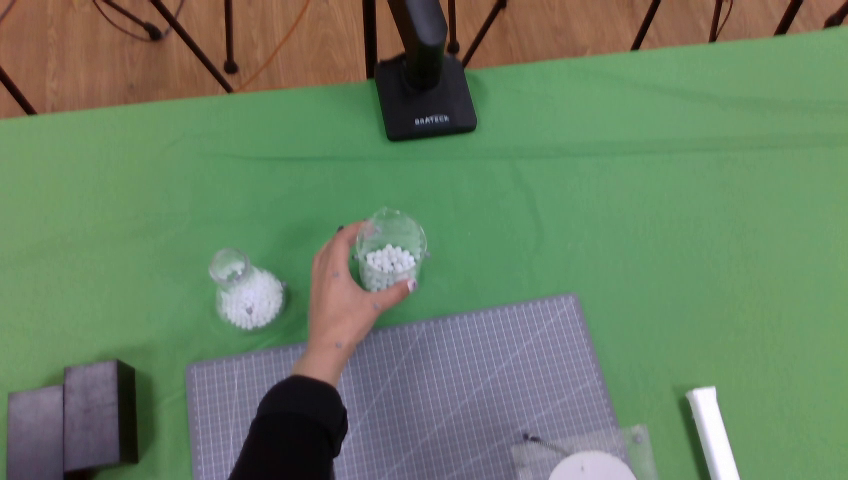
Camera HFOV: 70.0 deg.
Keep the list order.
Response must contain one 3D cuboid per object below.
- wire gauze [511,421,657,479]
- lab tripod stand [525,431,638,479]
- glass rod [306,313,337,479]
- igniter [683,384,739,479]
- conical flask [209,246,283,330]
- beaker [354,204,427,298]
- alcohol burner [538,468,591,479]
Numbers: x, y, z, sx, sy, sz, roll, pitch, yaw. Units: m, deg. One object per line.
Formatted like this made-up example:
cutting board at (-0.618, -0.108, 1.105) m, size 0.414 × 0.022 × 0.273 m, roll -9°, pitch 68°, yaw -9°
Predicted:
wire gauze at (0.146, 0.224, 0.514) m, size 0.125 × 0.011 × 0.120 m, roll -7°, pitch 71°, yaw -8°
lab tripod stand at (0.140, 0.251, 0.576) m, size 0.148 × 0.132 × 0.147 m, roll 2°, pitch 70°, yaw -5°
glass rod at (-0.109, 0.173, 0.648) m, size 0.008 × 0.008 × 0.198 m, roll -9°, pitch 69°, yaw -10°
igniter at (0.327, 0.293, 0.638) m, size 0.057 × 0.025 × 0.274 m, roll -1°, pitch 68°, yaw -18°
conical flask at (-0.192, 0.045, 0.633) m, size 0.075 × 0.122 × 0.075 m, roll 2°, pitch 68°, yaw -4°
beaker at (-0.040, 0.017, 0.672) m, size 0.074 × 0.101 × 0.083 m, roll -10°, pitch 68°, yaw -9°
alcohol burner at (0.142, 0.260, 0.583) m, size 0.078 × 0.120 × 0.077 m, roll 1°, pitch 69°, yaw -2°
